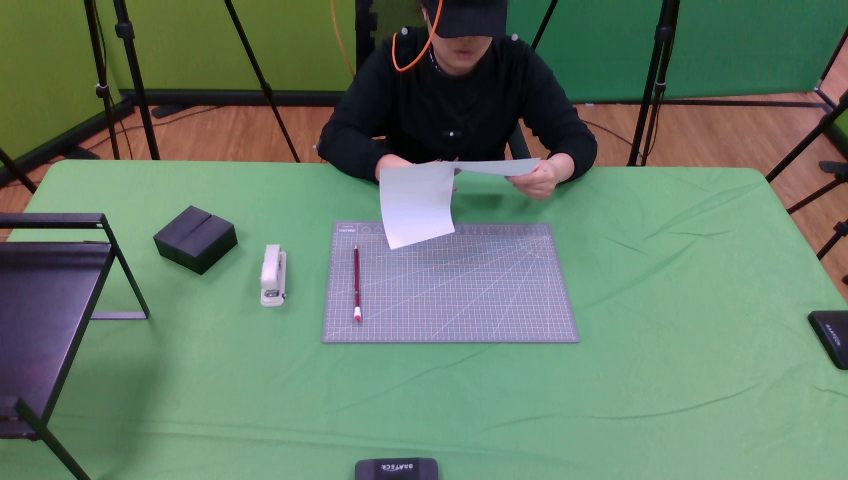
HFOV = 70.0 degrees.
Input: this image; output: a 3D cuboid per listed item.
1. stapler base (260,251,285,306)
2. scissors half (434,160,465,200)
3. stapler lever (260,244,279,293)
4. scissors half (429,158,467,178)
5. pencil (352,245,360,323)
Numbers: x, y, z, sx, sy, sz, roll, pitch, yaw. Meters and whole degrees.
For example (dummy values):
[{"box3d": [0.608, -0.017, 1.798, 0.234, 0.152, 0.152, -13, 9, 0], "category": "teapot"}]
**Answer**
[{"box3d": [-0.279, 0.064, 1.113, 0.041, 0.024, 0.129, -2, 44, -9], "category": "stapler base"}, {"box3d": [0.051, -0.116, 1.170, 0.013, 0.175, 0.040, -20, 78, -19], "category": "scissors half"}, {"box3d": [-0.279, 0.045, 1.096, 0.027, 0.040, 0.117, -2, 44, -9], "category": "stapler lever"}, {"box3d": [0.045, -0.138, 1.169, 0.013, 0.040, 0.174, -15, 13, -19], "category": "scissors half"}, {"box3d": [-0.127, 0.076, 1.120, 0.012, 0.012, 0.192, -2, 44, -7], "category": "pencil"}]
